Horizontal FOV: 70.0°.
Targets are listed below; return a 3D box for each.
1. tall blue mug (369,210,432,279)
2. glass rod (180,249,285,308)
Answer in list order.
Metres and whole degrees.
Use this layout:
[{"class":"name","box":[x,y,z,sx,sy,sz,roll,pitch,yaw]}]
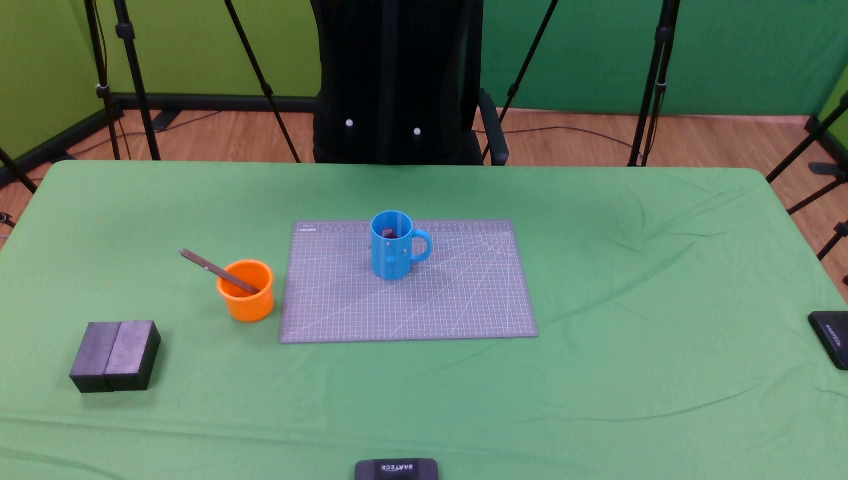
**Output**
[{"class":"tall blue mug","box":[-0.048,0.005,1.125,0.107,0.108,0.077,-19,50,-21]},{"class":"glass rod","box":[-0.322,0.068,1.028,0.200,0.008,0.008,34,40,-25]}]
